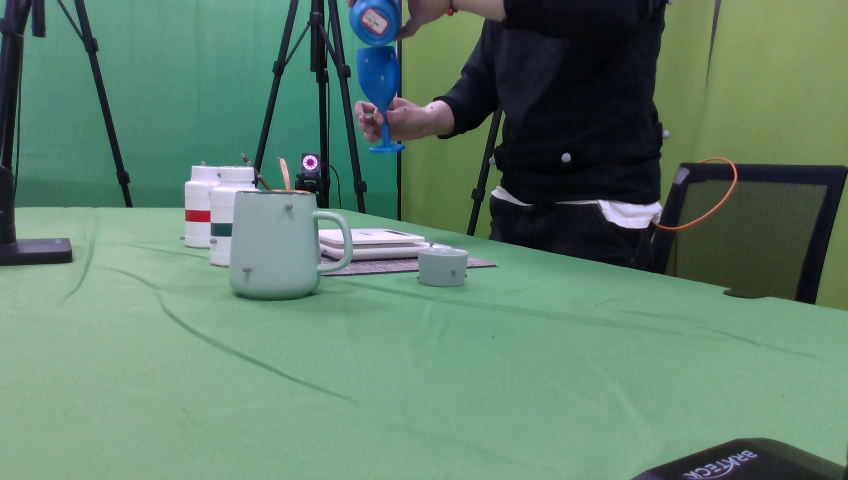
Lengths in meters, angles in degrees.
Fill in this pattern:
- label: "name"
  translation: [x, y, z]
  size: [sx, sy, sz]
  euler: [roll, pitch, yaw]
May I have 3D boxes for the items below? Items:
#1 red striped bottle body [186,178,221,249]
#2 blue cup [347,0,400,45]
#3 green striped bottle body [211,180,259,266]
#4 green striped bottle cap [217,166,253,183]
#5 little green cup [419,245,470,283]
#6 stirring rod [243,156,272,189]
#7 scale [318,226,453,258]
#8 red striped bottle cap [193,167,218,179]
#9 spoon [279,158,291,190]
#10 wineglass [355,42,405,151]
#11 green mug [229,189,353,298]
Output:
- label: "red striped bottle body"
  translation: [-0.331, -0.049, 0.928]
  size: [0.063, 0.119, 0.063]
  euler: [2, 7, 0]
- label: "blue cup"
  translation: [-0.077, -0.341, 0.936]
  size: [0.093, 0.092, 0.100]
  euler: [1, 26, -6]
- label: "green striped bottle body"
  translation: [-0.243, -0.029, 0.784]
  size: [0.063, 0.119, 0.063]
  euler: [2, 7, 0]
- label: "green striped bottle cap"
  translation: [-0.242, -0.085, 0.777]
  size: [0.044, 0.020, 0.044]
  euler: [2, 9, 0]
- label: "little green cup"
  translation: [0.023, 0.028, 0.712]
  size: [0.061, 0.038, 0.061]
  euler: [2, 6, 0]
- label: "stirring rod"
  translation: [-0.304, -0.099, 1.201]
  size: [0.006, 0.177, 0.014]
  euler: [-27, 37, 7]
- label: "scale"
  translation: [-0.066, 0.001, 0.906]
  size: [0.202, 0.031, 0.148]
  euler: [-2, 8, -31]
- label: "red striped bottle cap"
  translation: [-0.329, -0.103, 0.921]
  size: [0.044, 0.017, 0.044]
  euler: [-1, 9, 0]
- label: "spoon"
  translation: [-0.280, -0.103, 1.251]
  size: [0.042, 0.193, 0.021]
  euler: [8, -40, -30]
- label: "wineglass"
  translation: [-0.074, -0.244, 1.033]
  size: [0.074, 0.172, 0.073]
  euler: [-6, 17, 2]
- label: "green mug"
  translation: [-0.135, 0.002, 0.618]
  size: [0.125, 0.105, 0.092]
  euler: [2, 7, 4]
